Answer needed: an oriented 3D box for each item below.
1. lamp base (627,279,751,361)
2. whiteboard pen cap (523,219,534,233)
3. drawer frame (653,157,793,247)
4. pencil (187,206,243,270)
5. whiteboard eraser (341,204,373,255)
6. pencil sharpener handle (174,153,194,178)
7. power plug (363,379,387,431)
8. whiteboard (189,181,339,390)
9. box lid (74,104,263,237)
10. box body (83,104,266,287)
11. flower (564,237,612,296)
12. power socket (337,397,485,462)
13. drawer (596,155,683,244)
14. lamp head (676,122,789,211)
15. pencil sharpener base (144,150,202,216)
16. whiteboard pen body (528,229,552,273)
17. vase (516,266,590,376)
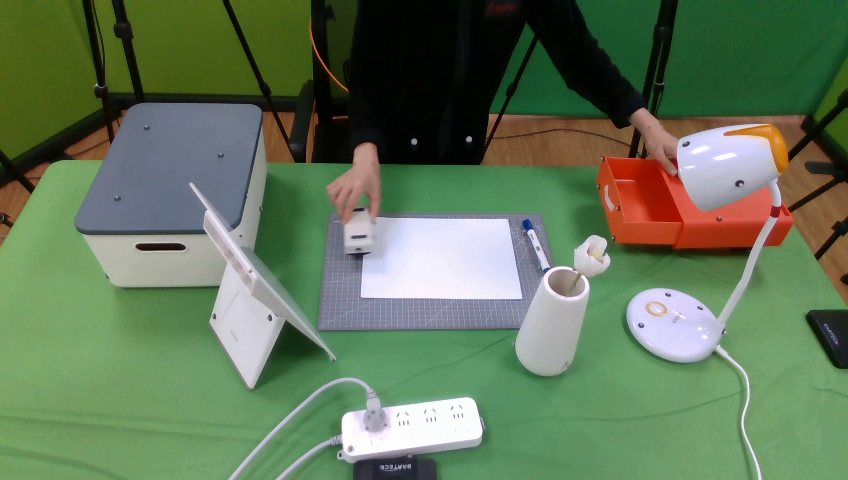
[{"bbox_3d":[0.460,0.100,1.027,0.178,0.181,0.160,27,51,17],"label":"lamp base"},{"bbox_3d":[0.214,-0.027,1.239,0.018,0.018,0.033,-5,45,-9],"label":"whiteboard pen cap"},{"bbox_3d":[0.579,-0.080,1.215,0.214,0.083,0.200,-1,45,-1],"label":"drawer frame"},{"bbox_3d":[-0.401,-0.008,1.176,0.012,0.012,0.193,15,44,10],"label":"pencil"},{"bbox_3d":[-0.130,-0.020,1.166,0.055,0.042,0.112,-6,49,-4],"label":"whiteboard eraser"},{"bbox_3d":[-0.479,-0.156,1.225,0.036,0.068,0.030,24,47,2],"label":"pencil sharpener handle"},{"bbox_3d":[-0.072,0.252,0.910,0.035,0.053,0.072,3,45,-1],"label":"power plug"},{"bbox_3d":[-0.292,0.096,0.929,0.144,0.307,0.216,-37,57,-10],"label":"whiteboard"},{"bbox_3d":[-0.443,-0.139,1.095,0.263,0.015,0.369,-1,45,-5],"label":"box lid"},{"bbox_3d":[-0.447,-0.088,1.150,0.254,0.161,0.361,-1,46,-5],"label":"box body"},{"bbox_3d":[0.206,0.088,0.892,0.038,0.363,0.044,-17,67,-9],"label":"flower"},{"bbox_3d":[-0.018,0.285,0.915,0.227,0.033,0.071,-5,46,-8],"label":"power socket"},{"bbox_3d":[0.468,-0.082,1.210,0.212,0.073,0.193,2,45,-2],"label":"drawer"},{"bbox_3d":[0.423,-0.104,0.819,0.122,0.113,0.112,-13,33,40],"label":"lamp head"},{"bbox_3d":[-0.493,-0.113,1.199,0.061,0.107,0.076,15,46,12],"label":"pencil sharpener base"},{"bbox_3d":[0.224,0.013,1.197,0.017,0.017,0.140,-5,45,-9],"label":"whiteboard pen body"},{"bbox_3d":[0.208,0.132,0.964,0.098,0.201,0.097,3,46,-3],"label":"vase"}]
